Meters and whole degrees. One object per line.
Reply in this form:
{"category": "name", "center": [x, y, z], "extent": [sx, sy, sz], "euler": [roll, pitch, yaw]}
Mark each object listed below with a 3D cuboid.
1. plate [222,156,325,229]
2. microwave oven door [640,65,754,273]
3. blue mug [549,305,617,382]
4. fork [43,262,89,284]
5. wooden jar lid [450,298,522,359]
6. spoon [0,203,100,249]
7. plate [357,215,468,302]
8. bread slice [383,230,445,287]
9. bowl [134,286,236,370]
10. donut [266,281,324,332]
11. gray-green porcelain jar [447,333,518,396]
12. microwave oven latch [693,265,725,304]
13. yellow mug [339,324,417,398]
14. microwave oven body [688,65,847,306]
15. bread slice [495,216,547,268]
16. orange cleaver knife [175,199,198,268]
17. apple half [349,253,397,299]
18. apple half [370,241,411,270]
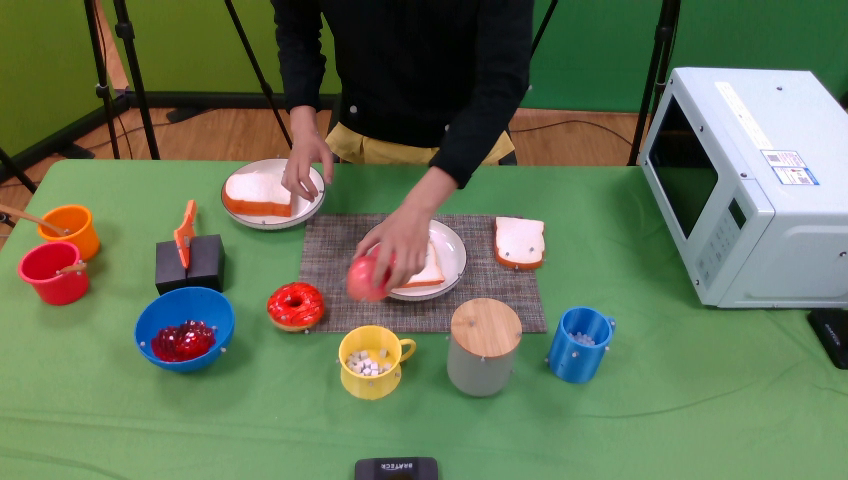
{"category": "plate", "center": [-0.308, -0.095, 1.251], "extent": [0.209, 0.038, 0.208], "euler": [2, 47, -2]}
{"category": "microwave oven door", "center": [0.523, -0.147, 1.193], "extent": [0.039, 0.245, 0.353], "euler": [0, 47, -3]}
{"category": "blue mug", "center": [0.269, 0.166, 0.998], "extent": [0.116, 0.106, 0.082], "euler": [-19, 51, -21]}
{"category": "fork", "center": [-0.599, 0.053, 1.013], "extent": [0.207, 0.019, 0.028], "euler": [-14, 30, 45]}
{"category": "wooden jar lid", "center": [0.093, 0.135, 0.914], "extent": [0.108, 0.021, 0.107], "euler": [2, 48, -3]}
{"category": "spoon", "center": [-0.683, -0.031, 1.088], "extent": [0.195, 0.021, 0.041], "euler": [33, 33, -38]}
{"category": "plate", "center": [-0.022, 0.037, 1.141], "extent": [0.208, 0.039, 0.206], "euler": [2, 46, -2]}
{"category": "bread slice", "center": [-0.028, 0.035, 1.144], "extent": [0.107, 0.018, 0.133], "euler": [-7, 48, -12]}
{"category": "bowl", "center": [-0.377, 0.155, 0.981], "extent": [0.151, 0.077, 0.150], "euler": [2, 46, -2]}
{"category": "donut", "center": [-0.222, 0.115, 1.049], "extent": [0.099, 0.048, 0.098], "euler": [2, 46, -2]}
{"category": "gray-green porcelain jar", "center": [0.091, 0.178, 0.959], "extent": [0.106, 0.127, 0.105], "euler": [2, 46, -2]}
{"category": "microwave oven latch", "center": [0.522, 0.081, 1.115], "extent": [0.030, 0.029, 0.078], "euler": [2, 46, -1]}
{"category": "yellow mug", "center": [-0.072, 0.189, 0.978], "extent": [0.131, 0.064, 0.099], "euler": [-17, 51, -20]}
{"category": "microwave oven body", "center": [0.669, -0.111, 1.176], "extent": [0.326, 0.261, 0.439], "euler": [0, 46, -3]}
{"category": "bread slice", "center": [0.194, 0.002, 1.204], "extent": [0.105, 0.019, 0.131], "euler": [5, 45, 2]}
{"category": "orange cleaver knife", "center": [-0.438, -0.017, 1.138], "extent": [0.012, 0.077, 0.210], "euler": [-14, 27, -7]}
{"category": "apple half", "center": [-0.082, 0.051, 0.985], "extent": [0.074, 0.053, 0.080], "euler": [10, 38, 7]}
{"category": "apple half", "center": [-0.066, 0.024, 1.121], "extent": [0.081, 0.033, 0.081], "euler": [1, 48, -1]}
